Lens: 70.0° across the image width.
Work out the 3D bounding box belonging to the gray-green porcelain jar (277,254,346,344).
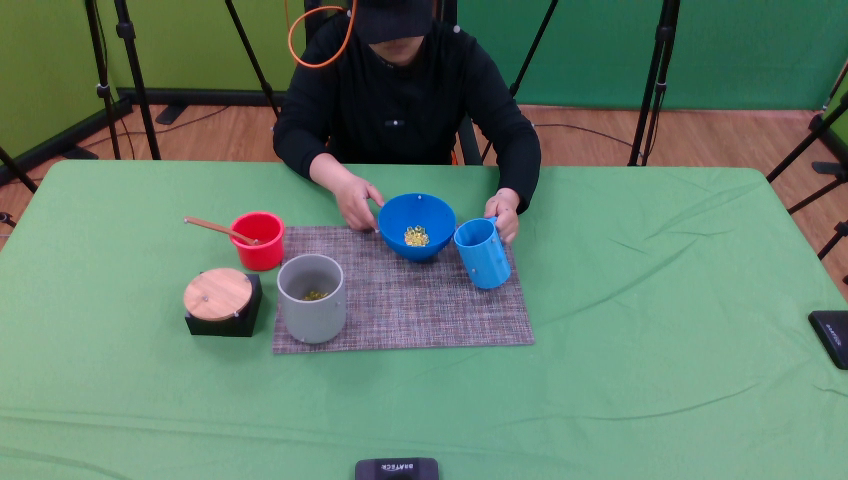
[{"bbox_3d":[-0.184,0.102,1.008,0.106,0.127,0.105,2,46,-2],"label":"gray-green porcelain jar"}]

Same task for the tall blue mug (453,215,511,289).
[{"bbox_3d":[0.109,0.014,1.104,0.078,0.108,0.106,-12,39,18],"label":"tall blue mug"}]

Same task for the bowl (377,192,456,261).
[{"bbox_3d":[-0.015,-0.013,1.166,0.151,0.077,0.150,2,46,-2],"label":"bowl"}]

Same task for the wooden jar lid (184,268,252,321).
[{"bbox_3d":[-0.343,0.092,1.015,0.108,0.021,0.107,3,46,-3],"label":"wooden jar lid"}]

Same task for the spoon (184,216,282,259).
[{"bbox_3d":[-0.341,-0.008,1.096,0.021,0.195,0.041,-36,47,25],"label":"spoon"}]
